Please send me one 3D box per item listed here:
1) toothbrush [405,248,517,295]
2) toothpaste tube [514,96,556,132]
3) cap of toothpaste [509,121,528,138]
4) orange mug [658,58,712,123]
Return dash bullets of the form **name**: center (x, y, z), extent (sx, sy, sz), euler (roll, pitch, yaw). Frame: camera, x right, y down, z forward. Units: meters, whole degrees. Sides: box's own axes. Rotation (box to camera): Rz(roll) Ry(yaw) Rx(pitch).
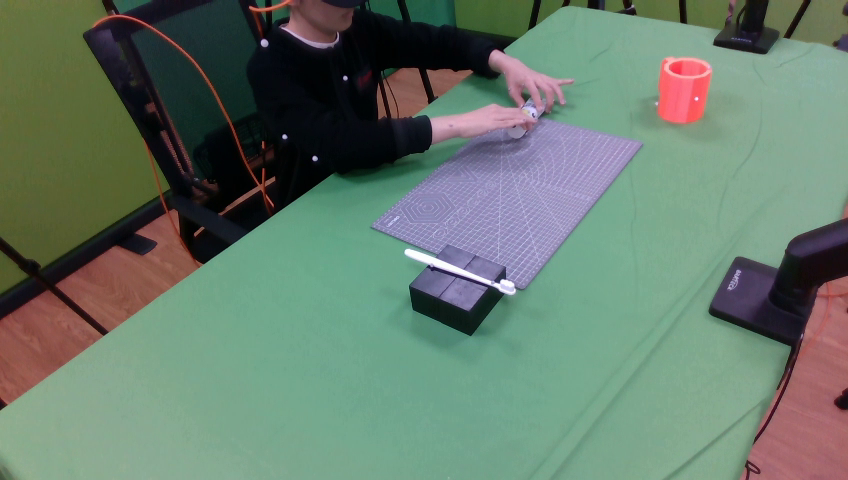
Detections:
- **toothbrush**: center (0.048, 0.041, 0.850), extent (0.180, 0.017, 0.014), euler (19, 52, 28)
- **toothpaste tube**: center (0.222, -0.261, 1.238), extent (0.055, 0.034, 0.165), euler (16, 41, 21)
- **cap of toothpaste**: center (0.185, -0.218, 1.183), extent (0.037, 0.037, 0.011), euler (12, 41, 21)
- **orange mug**: center (0.504, -0.304, 1.193), extent (0.083, 0.101, 0.125), euler (-13, 45, -5)
